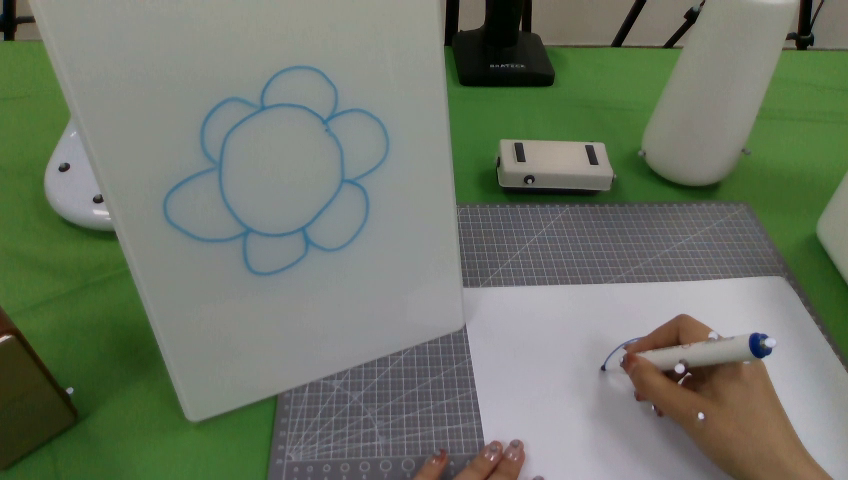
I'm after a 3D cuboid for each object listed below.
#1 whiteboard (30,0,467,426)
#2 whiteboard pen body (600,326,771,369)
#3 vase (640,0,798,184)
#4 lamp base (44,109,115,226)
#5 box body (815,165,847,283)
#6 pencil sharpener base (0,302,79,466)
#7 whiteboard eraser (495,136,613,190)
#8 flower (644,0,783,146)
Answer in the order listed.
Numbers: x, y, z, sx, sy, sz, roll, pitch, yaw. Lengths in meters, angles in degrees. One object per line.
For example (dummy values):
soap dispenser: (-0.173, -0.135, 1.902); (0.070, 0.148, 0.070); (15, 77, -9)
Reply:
whiteboard: (-0.104, -0.060, 0.439); (0.218, 0.308, 0.142); (-16, 30, -17)
whiteboard pen body: (0.169, 0.076, 0.414); (0.017, 0.140, 0.017); (8, 71, -25)
vase: (0.285, -0.152, 0.590); (0.098, 0.201, 0.097); (3, 46, -3)
lamp base: (-0.286, -0.130, 0.539); (0.178, 0.182, 0.160); (29, 51, 25)
box body: (0.502, 0.052, 0.435); (0.254, 0.162, 0.360); (0, 46, -3)
pencil sharpener base: (-0.283, 0.081, 0.386); (0.076, 0.108, 0.061); (35, 54, 27)
whiteboard eraser: (0.130, -0.077, 0.615); (0.113, 0.042, 0.055); (0, 44, -2)
flower: (0.300, -0.199, 0.522); (0.044, 0.363, 0.038); (-21, 68, -31)
